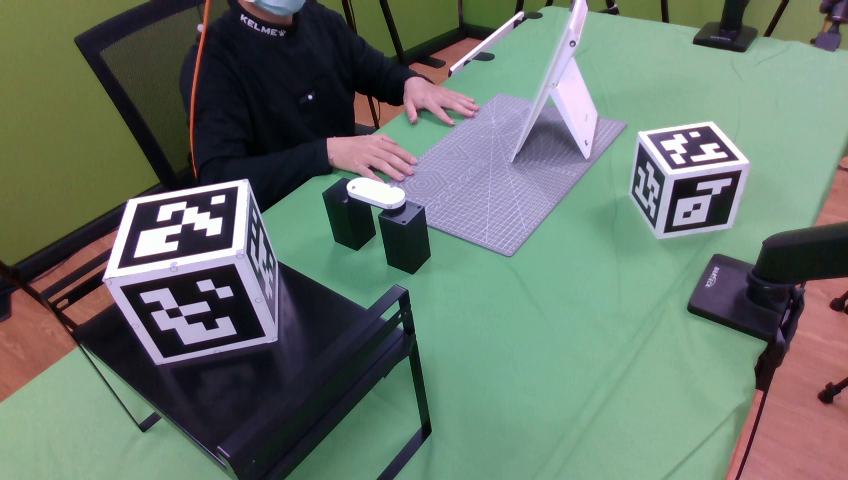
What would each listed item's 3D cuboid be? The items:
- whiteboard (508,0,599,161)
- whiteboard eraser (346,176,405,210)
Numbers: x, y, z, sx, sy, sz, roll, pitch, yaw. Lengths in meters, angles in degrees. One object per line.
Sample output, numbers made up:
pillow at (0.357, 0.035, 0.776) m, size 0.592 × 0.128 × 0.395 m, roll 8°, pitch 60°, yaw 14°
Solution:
whiteboard at (0.285, -0.289, 1.088) m, size 0.144 × 0.305 × 0.217 m, roll 22°, pitch 45°, yaw 3°
whiteboard eraser at (-0.073, -0.072, 0.909) m, size 0.100 × 0.019 × 0.041 m, roll 20°, pitch 49°, yaw 29°
